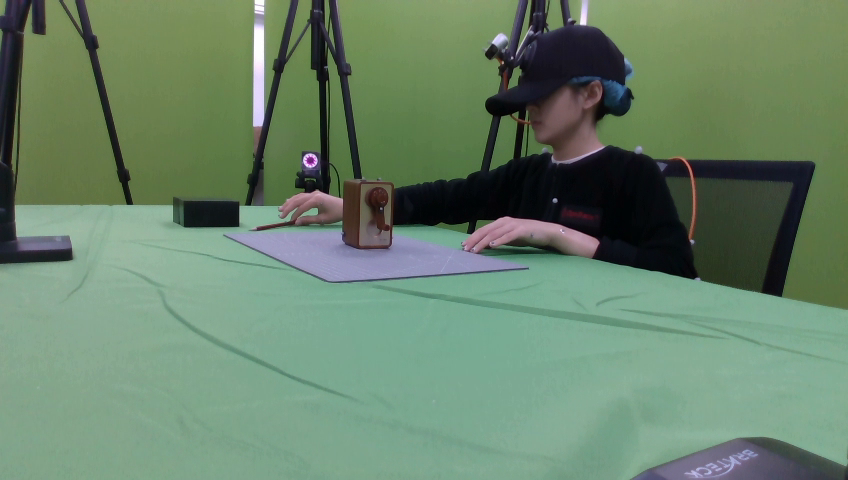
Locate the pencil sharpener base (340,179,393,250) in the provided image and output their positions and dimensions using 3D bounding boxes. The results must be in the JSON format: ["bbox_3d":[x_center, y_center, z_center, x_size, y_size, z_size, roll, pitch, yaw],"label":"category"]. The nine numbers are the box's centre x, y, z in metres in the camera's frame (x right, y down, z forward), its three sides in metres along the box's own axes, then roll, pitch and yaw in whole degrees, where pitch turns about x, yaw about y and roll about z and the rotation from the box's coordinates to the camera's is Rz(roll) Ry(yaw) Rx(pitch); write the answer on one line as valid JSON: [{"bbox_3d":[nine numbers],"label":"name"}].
[{"bbox_3d":[-0.091,-0.041,0.960,0.061,0.107,0.076,-1,9,-28],"label":"pencil sharpener base"}]

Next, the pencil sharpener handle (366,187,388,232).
[{"bbox_3d":[-0.065,-0.046,0.915,0.036,0.067,0.030,-8,12,-27],"label":"pencil sharpener handle"}]

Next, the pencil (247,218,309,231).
[{"bbox_3d":[-0.285,-0.030,1.193,0.012,0.012,0.195,6,10,23],"label":"pencil"}]
